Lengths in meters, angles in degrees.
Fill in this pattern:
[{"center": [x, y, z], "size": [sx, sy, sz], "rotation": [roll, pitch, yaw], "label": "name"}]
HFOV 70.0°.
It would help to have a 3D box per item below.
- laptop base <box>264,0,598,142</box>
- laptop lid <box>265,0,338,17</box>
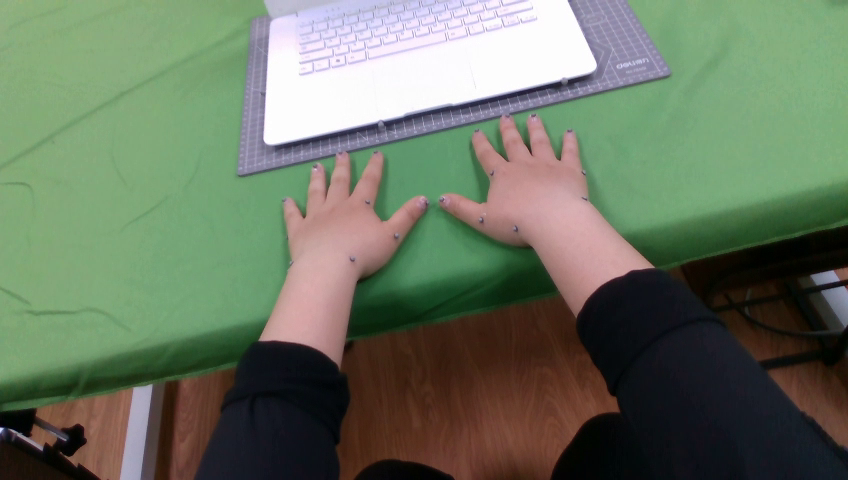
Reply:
[{"center": [-0.007, -0.223, 0.691], "size": [0.354, 0.023, 0.233], "rotation": [-12, 54, 4], "label": "laptop base"}, {"center": [-0.045, -0.398, 0.682], "size": [0.356, 0.244, 0.013], "rotation": [-13, 43, 5], "label": "laptop lid"}]
